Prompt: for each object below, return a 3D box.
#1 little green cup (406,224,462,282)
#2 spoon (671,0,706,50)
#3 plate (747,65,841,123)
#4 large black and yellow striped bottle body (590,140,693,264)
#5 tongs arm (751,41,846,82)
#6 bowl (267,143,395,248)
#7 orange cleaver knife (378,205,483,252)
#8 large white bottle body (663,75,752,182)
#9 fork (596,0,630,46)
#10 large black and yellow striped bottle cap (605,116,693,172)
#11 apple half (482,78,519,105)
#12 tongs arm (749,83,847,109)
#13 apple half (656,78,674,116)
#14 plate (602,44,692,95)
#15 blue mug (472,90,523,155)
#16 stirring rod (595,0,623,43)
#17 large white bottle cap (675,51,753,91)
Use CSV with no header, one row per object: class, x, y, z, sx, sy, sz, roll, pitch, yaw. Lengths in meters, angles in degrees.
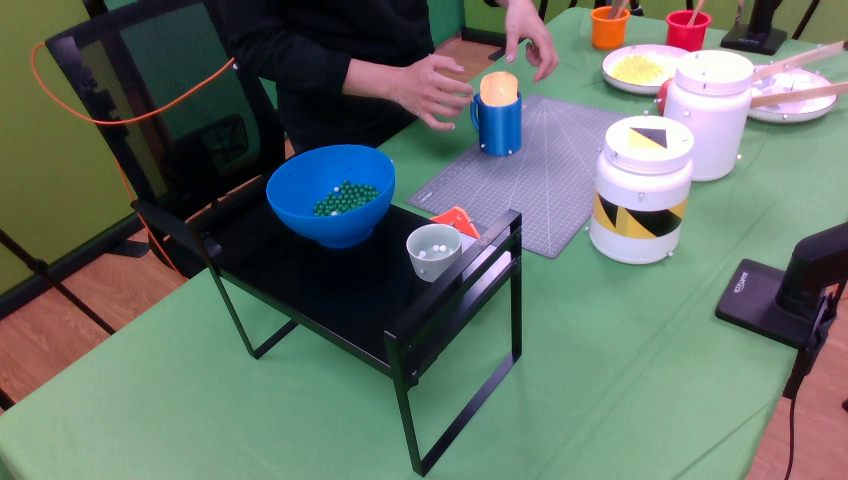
little green cup,0.013,0.015,0.668,0.061,0.039,0.061,-4,40,4
spoon,0.628,-0.520,1.394,0.041,0.022,0.193,30,97,34
plate,0.694,-0.282,1.189,0.207,0.039,0.206,-4,40,4
large black and yellow striped bottle body,0.317,-0.071,0.889,0.131,0.185,0.130,-4,41,4
tongs arm,0.708,-0.331,1.194,0.386,0.026,0.050,-18,45,-16
bowl,-0.104,-0.043,0.726,0.151,0.077,0.150,-4,40,4
orange cleaver knife,0.005,-0.010,0.944,0.210,0.077,0.012,-5,23,47
large white bottle body,0.472,-0.207,1.022,0.130,0.185,0.130,-4,41,4
fork,0.481,-0.556,1.453,0.028,0.019,0.207,40,103,40
large black and yellow striped bottle cap,0.309,-0.134,0.833,0.115,0.019,0.114,-5,40,5
apple half,0.143,-0.270,1.142,0.081,0.081,0.032,-12,29,-5
tongs arm,0.734,-0.280,1.133,0.388,0.028,0.028,-9,47,-5
apple half,0.488,-0.281,1.192,0.053,0.075,0.081,24,54,37
plate,0.495,-0.367,1.317,0.209,0.038,0.208,-4,40,4
blue mug,0.136,-0.235,1.164,0.082,0.106,0.115,-35,47,-28
stirring rod,0.460,-0.556,1.460,0.014,0.006,0.176,30,93,23
large white bottle cap,0.463,-0.271,0.967,0.115,0.018,0.114,-4,40,3
